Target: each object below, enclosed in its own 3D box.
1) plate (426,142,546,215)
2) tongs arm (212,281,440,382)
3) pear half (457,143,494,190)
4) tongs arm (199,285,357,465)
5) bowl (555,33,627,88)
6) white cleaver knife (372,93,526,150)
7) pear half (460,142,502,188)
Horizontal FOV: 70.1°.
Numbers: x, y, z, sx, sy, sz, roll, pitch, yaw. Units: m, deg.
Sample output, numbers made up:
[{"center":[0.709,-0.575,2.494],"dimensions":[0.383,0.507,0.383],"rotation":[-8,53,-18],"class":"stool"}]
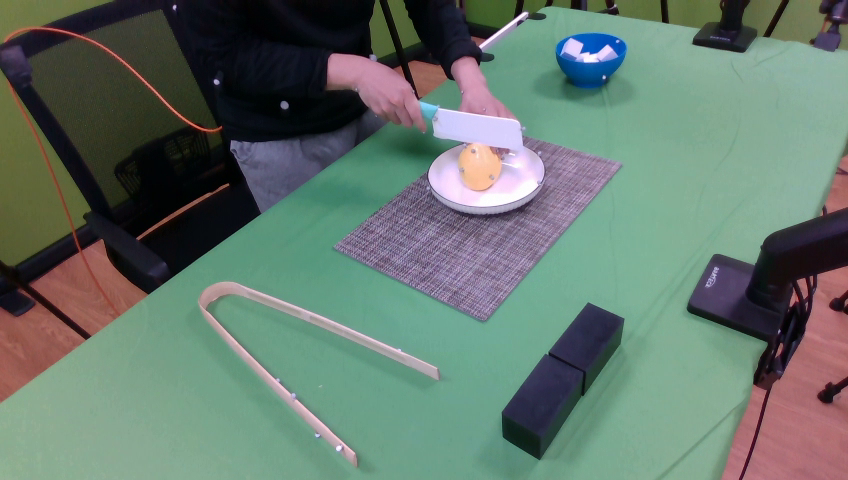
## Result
[{"center":[0.109,-0.107,1.059],"dimensions":[0.207,0.039,0.206],"rotation":[-4,41,4],"class":"plate"},{"center":[-0.148,0.121,0.846],"dimensions":[0.385,0.028,0.028],"rotation":[17,48,25],"class":"tongs arm"},{"center":[0.082,-0.120,1.024],"dimensions":[0.070,0.088,0.031],"rotation":[16,46,23],"class":"pear half"},{"center":[-0.199,0.162,0.797],"dimensions":[0.381,0.026,0.051],"rotation":[28,50,35],"class":"tongs arm"},{"center":[0.360,-0.384,1.318],"dimensions":[0.151,0.077,0.150],"rotation":[-4,41,4],"class":"bowl"},{"center":[0.034,-0.196,1.006],"dimensions":[0.284,0.066,0.021],"rotation":[17,48,25],"class":"white cleaver knife"},{"center":[0.099,-0.148,1.039],"dimensions":[0.076,0.110,0.056],"rotation":[19,49,23],"class":"pear half"}]
